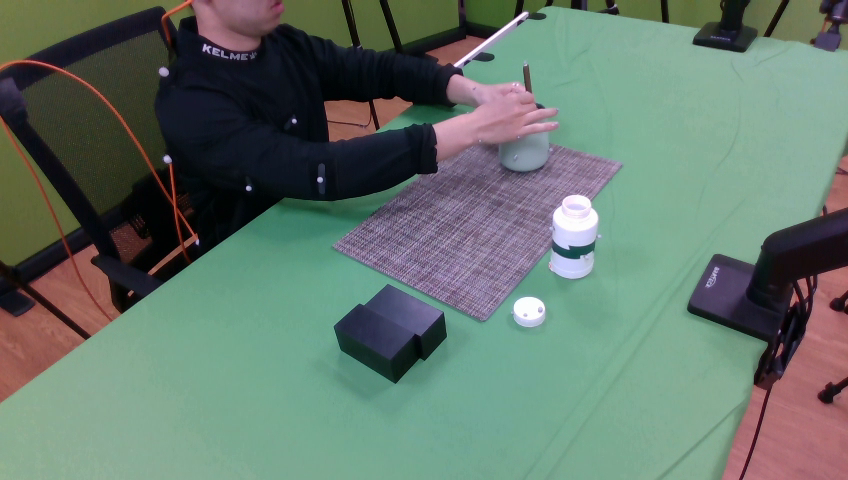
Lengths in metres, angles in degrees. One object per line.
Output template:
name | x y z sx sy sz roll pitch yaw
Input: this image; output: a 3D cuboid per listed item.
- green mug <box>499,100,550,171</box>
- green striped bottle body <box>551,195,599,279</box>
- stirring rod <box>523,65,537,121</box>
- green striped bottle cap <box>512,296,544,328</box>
green mug | 0.183 -0.197 1.101 0.092 0.105 0.125 0 41 9
green striped bottle body | 0.217 -0.006 0.870 0.063 0.120 0.063 -4 41 4
stirring rod | 0.192 -0.226 1.067 0.006 0.177 0.014 15 47 35
green striped bottle cap | 0.144 0.099 0.837 0.044 0.020 0.044 -1 43 2
